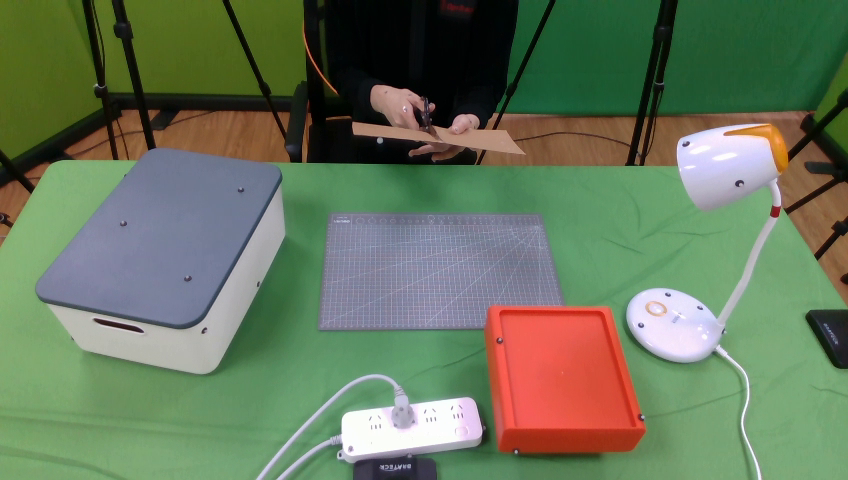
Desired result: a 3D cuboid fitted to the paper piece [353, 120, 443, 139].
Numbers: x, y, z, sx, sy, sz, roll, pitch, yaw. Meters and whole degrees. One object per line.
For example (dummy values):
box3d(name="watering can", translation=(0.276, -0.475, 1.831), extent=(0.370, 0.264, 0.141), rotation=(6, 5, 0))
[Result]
box3d(name="paper piece", translation=(-0.045, -0.176, 0.963), extent=(0.135, 0.004, 0.135), rotation=(5, 17, -8))

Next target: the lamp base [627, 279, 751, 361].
box3d(name="lamp base", translation=(0.460, 0.100, 1.026), extent=(0.178, 0.181, 0.160), rotation=(27, 51, 17))

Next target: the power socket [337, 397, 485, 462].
box3d(name="power socket", translation=(-0.018, 0.285, 0.915), extent=(0.227, 0.033, 0.071), rotation=(-4, 46, -8))

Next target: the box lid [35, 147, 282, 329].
box3d(name="box lid", translation=(-0.411, -0.023, 0.987), extent=(0.263, 0.015, 0.369), rotation=(10, 47, 5))

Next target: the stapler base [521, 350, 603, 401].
box3d(name="stapler base", translation=(0.217, 0.203, 0.942), extent=(0.130, 0.024, 0.041), rotation=(26, 34, 16))

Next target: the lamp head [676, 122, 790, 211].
box3d(name="lamp head", translation=(0.423, -0.104, 0.819), extent=(0.122, 0.113, 0.112), rotation=(-13, 33, 40))

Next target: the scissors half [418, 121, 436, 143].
box3d(name="scissors half", translation=(0.006, -0.188, 1.052), extent=(0.013, 0.040, 0.174), rotation=(2, 9, -9))

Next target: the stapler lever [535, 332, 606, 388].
box3d(name="stapler lever", translation=(0.225, 0.182, 0.928), extent=(0.118, 0.040, 0.027), rotation=(27, 34, 15))

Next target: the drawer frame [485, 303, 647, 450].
box3d(name="drawer frame", translation=(0.204, 0.202, 0.917), extent=(0.202, 0.083, 0.212), rotation=(1, 47, -4))

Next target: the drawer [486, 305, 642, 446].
box3d(name="drawer", translation=(0.202, 0.200, 0.918), extent=(0.195, 0.073, 0.210), rotation=(2, 47, -4))

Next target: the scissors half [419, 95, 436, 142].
box3d(name="scissors half", translation=(0.007, -0.208, 1.044), extent=(0.013, 0.040, 0.174), rotation=(-3, 37, -7))

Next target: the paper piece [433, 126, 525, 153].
box3d(name="paper piece", translation=(0.085, -0.165, 0.986), extent=(0.136, 0.009, 0.137), rotation=(7, 21, -10))

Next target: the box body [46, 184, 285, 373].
box3d(name="box body", translation=(-0.414, 0.029, 1.040), extent=(0.254, 0.161, 0.362), rotation=(10, 46, 5))

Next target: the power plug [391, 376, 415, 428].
box3d(name="power plug", translation=(-0.031, 0.249, 0.917), extent=(0.035, 0.053, 0.072), rotation=(3, 46, -1))
